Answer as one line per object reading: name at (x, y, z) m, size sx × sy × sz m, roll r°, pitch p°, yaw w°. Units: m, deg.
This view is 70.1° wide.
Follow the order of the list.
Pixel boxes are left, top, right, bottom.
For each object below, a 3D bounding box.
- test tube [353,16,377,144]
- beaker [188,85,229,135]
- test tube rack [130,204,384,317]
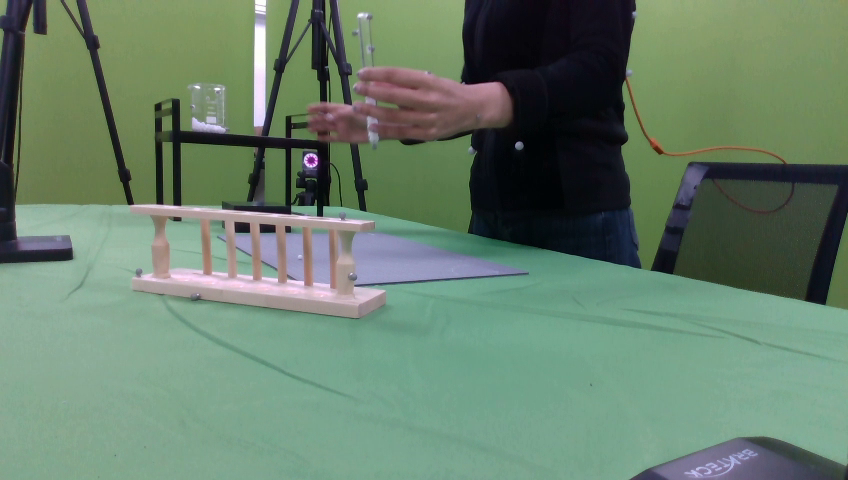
test tube at (-0.071, -0.192, 0.732) m, size 0.017 × 0.150 × 0.017 m, roll -4°, pitch 13°, yaw 1°
beaker at (-0.457, -0.275, 1.283) m, size 0.084 × 0.100 × 0.073 m, roll -5°, pitch 9°, yaw -40°
test tube rack at (-0.162, 0.013, 0.589) m, size 0.242 × 0.085 × 0.067 m, roll 5°, pitch 8°, yaw 17°
